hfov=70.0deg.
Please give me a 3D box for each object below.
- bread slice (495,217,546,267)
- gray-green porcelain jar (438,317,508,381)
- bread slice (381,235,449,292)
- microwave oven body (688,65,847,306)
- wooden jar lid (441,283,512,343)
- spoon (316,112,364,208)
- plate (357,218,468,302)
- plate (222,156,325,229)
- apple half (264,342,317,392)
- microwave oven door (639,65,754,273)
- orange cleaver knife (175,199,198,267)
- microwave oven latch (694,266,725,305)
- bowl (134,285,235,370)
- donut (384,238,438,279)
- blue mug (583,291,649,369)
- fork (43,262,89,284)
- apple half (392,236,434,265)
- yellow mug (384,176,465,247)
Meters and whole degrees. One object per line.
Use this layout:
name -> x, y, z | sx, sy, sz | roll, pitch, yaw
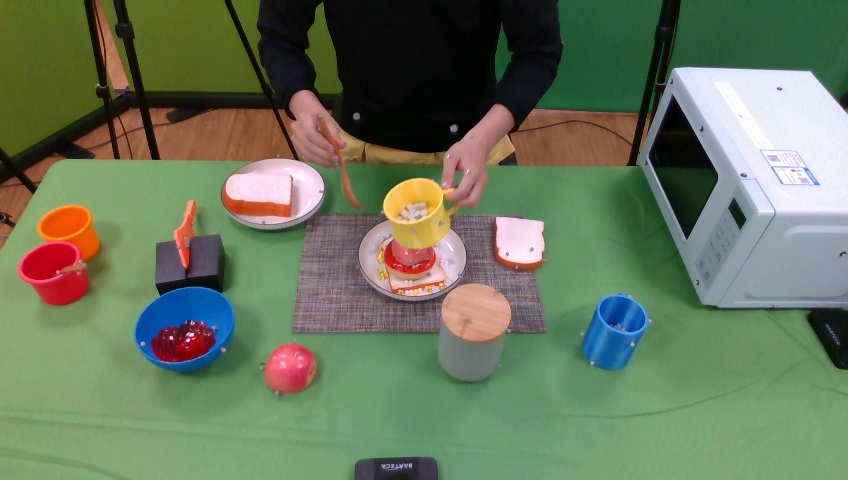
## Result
bread slice -> 0.194, 0.002, 1.205 | 0.105, 0.019, 0.131 | 5, 45, 3
gray-green porcelain jar -> 0.076, 0.158, 0.977 | 0.106, 0.127, 0.105 | 2, 47, -2
bread slice -> -0.026, 0.039, 1.140 | 0.107, 0.018, 0.133 | -12, 48, -15
microwave oven body -> 0.669, -0.111, 1.176 | 0.326, 0.261, 0.439 | 0, 46, -3
wooden jar lid -> 0.080, 0.114, 0.931 | 0.108, 0.021, 0.107 | 1, 49, -1
spoon -> -0.135, -0.125, 0.975 | 0.021, 0.195, 0.041 | -31, 41, -17
plate -> -0.022, 0.037, 1.142 | 0.208, 0.039, 0.206 | 2, 46, -2
plate -> -0.308, -0.095, 1.251 | 0.209, 0.038, 0.208 | 3, 46, -2
apple half -> -0.214, 0.198, 0.970 | 0.074, 0.053, 0.080 | 19, 48, 10
microwave oven door -> 0.522, -0.147, 1.193 | 0.039, 0.245, 0.353 | 0, 47, -3
orange cleaver knife -> -0.438, -0.017, 1.138 | 0.012, 0.077, 0.210 | -14, 27, -6
microwave oven latch -> 0.523, 0.082, 1.115 | 0.030, 0.029, 0.078 | 3, 46, 0
bowl -> -0.377, 0.155, 0.981 | 0.151, 0.077, 0.150 | 2, 46, -2
donut -> -0.025, 0.029, 1.110 | 0.099, 0.048, 0.098 | 3, 46, -2
blue mug -> 0.324, 0.142, 1.023 | 0.082, 0.106, 0.116 | 15, 47, 11
fork -> -0.599, 0.053, 1.013 | 0.207, 0.019, 0.028 | -14, 30, 45
apple half -> -0.020, 0.005, 1.083 | 0.081, 0.033, 0.081 | 6, 48, -7
yellow mug -> 0.006, -0.054, 0.992 | 0.131, 0.064, 0.099 | -21, 49, -3
